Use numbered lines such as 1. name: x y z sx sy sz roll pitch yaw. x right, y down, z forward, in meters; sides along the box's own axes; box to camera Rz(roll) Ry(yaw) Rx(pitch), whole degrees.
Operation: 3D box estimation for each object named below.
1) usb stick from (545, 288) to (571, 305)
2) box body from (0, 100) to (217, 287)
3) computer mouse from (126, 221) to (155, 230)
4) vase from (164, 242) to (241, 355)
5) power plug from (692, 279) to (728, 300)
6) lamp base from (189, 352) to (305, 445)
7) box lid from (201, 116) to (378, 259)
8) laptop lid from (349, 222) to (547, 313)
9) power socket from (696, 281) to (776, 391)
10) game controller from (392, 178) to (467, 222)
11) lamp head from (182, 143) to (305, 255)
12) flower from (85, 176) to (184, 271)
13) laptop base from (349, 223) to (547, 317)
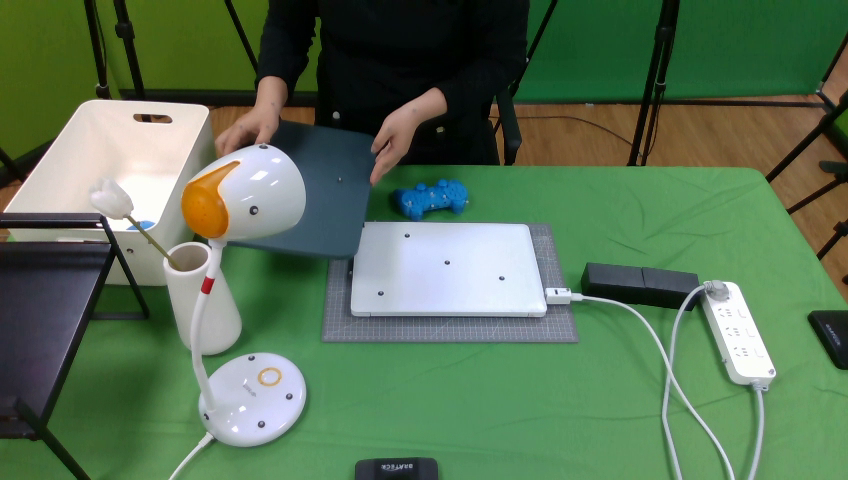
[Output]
1. usb stick: 0.236 0.102 1.101 0.059 0.027 0.021 -2 45 1
2. box body: -0.559 -0.092 1.145 0.254 0.161 0.361 3 46 -2
3. computer mouse: -0.537 0.008 1.127 0.062 0.041 0.117 32 56 20
4. vase: -0.349 0.096 0.954 0.098 0.201 0.097 3 47 -3
5. power plug: 0.522 0.091 1.116 0.072 0.053 0.035 10 47 8
6. lamp base: -0.268 0.196 0.876 0.160 0.181 0.179 26 52 20
7. box lid: -0.232 -0.108 1.114 0.263 0.015 0.369 8 43 -4
8. laptop lid: 0.041 0.045 1.143 0.357 0.013 0.240 2 44 -3
9. power socket: 0.550 0.160 1.078 0.072 0.033 0.225 2 46 -1
10. game controller: 0.016 -0.094 1.273 0.155 0.052 0.096 -11 54 -14
11. lamp head: -0.216 -0.044 0.697 0.112 0.113 0.123 23 31 17
12. flower: -0.365 0.038 0.894 0.038 0.364 0.044 -5 53 15
13. laptop base: 0.041 0.055 1.148 0.355 0.023 0.234 1 42 -4
